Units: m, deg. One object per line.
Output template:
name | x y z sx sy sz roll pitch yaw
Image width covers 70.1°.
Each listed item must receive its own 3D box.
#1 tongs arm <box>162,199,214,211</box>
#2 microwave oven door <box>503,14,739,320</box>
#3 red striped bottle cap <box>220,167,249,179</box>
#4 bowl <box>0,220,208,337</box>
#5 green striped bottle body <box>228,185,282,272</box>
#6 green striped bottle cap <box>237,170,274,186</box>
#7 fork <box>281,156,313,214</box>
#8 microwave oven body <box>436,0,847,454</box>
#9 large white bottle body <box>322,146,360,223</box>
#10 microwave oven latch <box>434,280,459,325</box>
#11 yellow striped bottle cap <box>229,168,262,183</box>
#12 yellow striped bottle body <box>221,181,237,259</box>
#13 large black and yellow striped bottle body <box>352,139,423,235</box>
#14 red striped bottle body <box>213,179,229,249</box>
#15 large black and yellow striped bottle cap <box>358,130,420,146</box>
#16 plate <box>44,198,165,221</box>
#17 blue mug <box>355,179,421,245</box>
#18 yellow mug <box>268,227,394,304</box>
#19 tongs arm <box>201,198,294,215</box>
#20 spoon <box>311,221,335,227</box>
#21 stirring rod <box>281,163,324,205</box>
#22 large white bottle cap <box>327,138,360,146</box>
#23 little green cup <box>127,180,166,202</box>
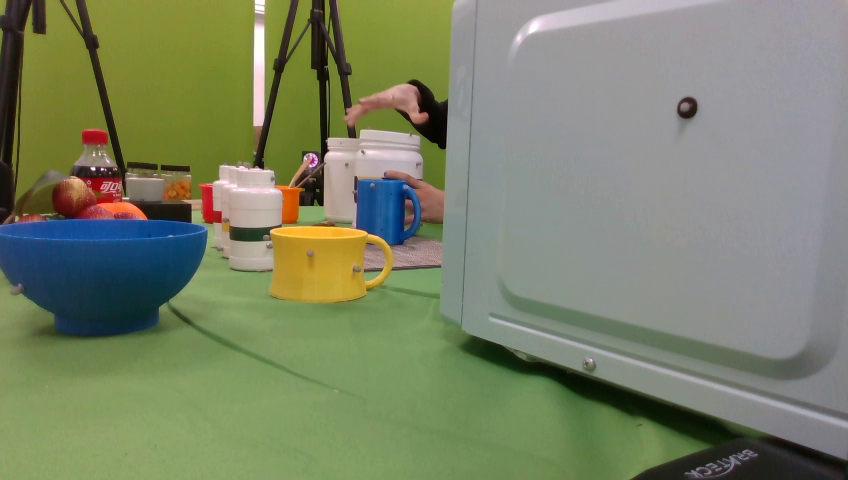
tongs arm | -0.503 -0.091 1.513 0.028 0.028 0.389 -1 4 38
microwave oven door | 0.218 -0.065 0.600 0.358 0.243 0.039 -4 10 -41
red striped bottle cap | -0.281 -0.100 0.901 0.044 0.017 0.044 -1 5 0
bowl | -0.251 0.029 0.479 0.151 0.077 0.151 2 7 0
green striped bottle body | -0.208 -0.023 0.745 0.063 0.119 0.063 2 7 0
green striped bottle cap | -0.205 -0.075 0.737 0.044 0.020 0.044 1 6 0
fork | -0.289 -0.116 1.320 0.028 0.019 0.207 -1 48 27
microwave oven body | 0.279 -0.040 0.465 0.444 0.260 0.324 -3 9 -41
large white bottle body | -0.163 -0.135 1.369 0.131 0.184 0.130 2 7 0
microwave oven latch | 0.044 0.045 0.470 0.079 0.029 0.030 -2 8 -39
yellow striped bottle cap | -0.240 -0.087 0.816 0.044 0.018 0.044 -3 6 1
yellow striped bottle body | -0.244 -0.035 0.823 0.063 0.120 0.063 2 8 0
large black and yellow striped bottle body | -0.069 -0.105 1.143 0.131 0.184 0.130 3 8 0
red striped bottle body | -0.283 -0.047 0.908 0.063 0.119 0.063 2 8 0
large black and yellow striped bottle cap | -0.065 -0.191 1.132 0.115 0.019 0.115 7 6 0
plate | -0.617 -0.056 1.179 0.209 0.038 0.209 3 7 0
blue mug | -0.058 -0.046 1.005 0.116 0.106 0.082 6 9 24
yellow mug | -0.094 0.023 0.630 0.131 0.064 0.099 0 7 -22
tongs arm | -0.423 -0.084 1.472 0.050 0.026 0.386 2 6 22
spoon | -0.185 -0.027 1.131 0.041 0.021 0.193 -20 6 2
stirring rod | -0.278 -0.104 1.293 0.176 0.006 0.014 -47 25 -18
large white bottle cap | -0.160 -0.218 1.357 0.115 0.018 0.115 2 8 0
little green cup | -0.485 -0.087 1.062 0.061 0.038 0.061 0 7 0
